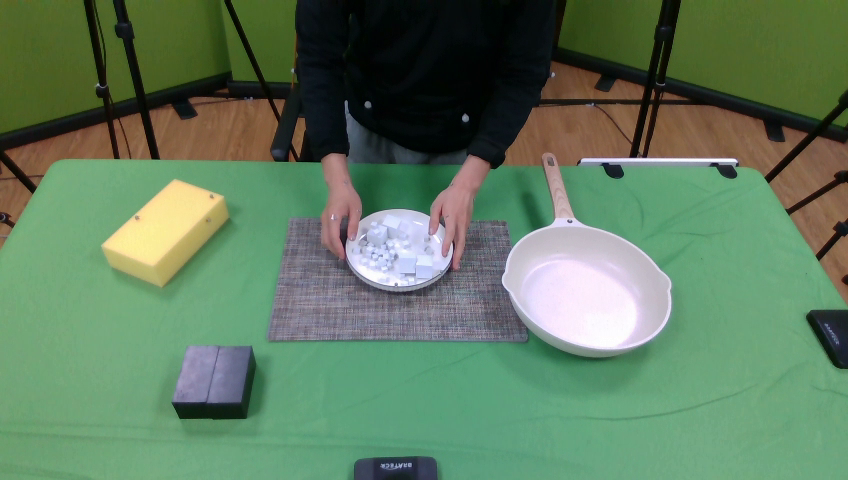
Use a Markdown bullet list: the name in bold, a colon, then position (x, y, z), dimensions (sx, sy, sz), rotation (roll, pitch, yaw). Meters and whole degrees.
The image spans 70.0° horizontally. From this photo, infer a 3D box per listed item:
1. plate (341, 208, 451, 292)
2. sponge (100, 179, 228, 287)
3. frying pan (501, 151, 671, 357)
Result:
- **plate**: position (-0.053, 0.022, 1.156), dimensions (0.208, 0.039, 0.206), rotation (2, 46, -2)
- **sponge**: position (-0.486, -0.018, 1.151), dimensions (0.118, 0.061, 0.206), rotation (19, 47, 12)
- **frying pan**: position (0.281, 0.008, 1.154), dimensions (0.307, 0.103, 0.484), rotation (1, 54, -6)
